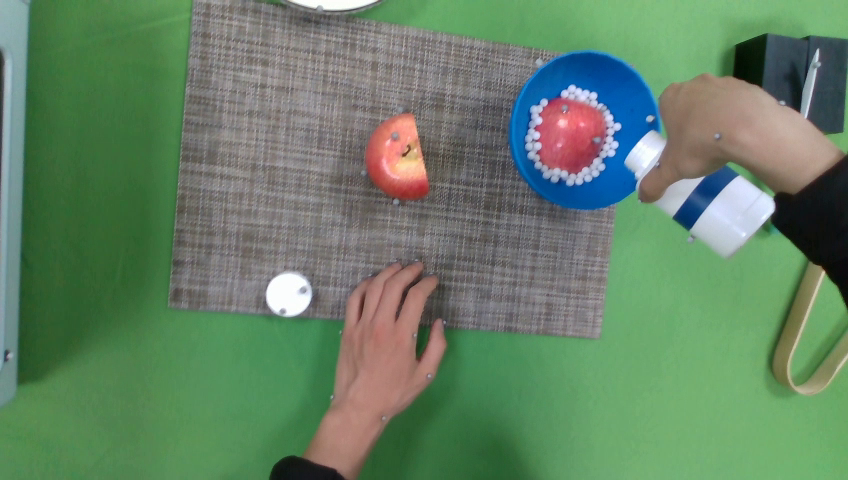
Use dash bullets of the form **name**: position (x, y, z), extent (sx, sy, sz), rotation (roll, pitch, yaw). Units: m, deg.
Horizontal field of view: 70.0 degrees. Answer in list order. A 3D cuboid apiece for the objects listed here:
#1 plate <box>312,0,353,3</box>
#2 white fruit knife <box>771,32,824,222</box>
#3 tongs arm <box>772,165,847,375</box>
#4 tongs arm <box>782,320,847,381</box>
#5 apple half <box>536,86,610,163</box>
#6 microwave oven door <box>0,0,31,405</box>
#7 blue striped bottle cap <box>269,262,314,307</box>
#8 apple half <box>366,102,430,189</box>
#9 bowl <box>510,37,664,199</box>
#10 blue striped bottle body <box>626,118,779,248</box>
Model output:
- **plate**: position (-0.094, -0.326, 0.566), extent (0.208, 0.039, 0.208), rotation (-1, 95, -11)
- **white fruit knife**: position (0.403, -0.114, 0.650), extent (0.016, 0.027, 0.208), rotation (2, 112, 7)
- **tongs arm**: position (0.487, -0.028, 0.704), extent (0.028, 0.027, 0.387), rotation (22, 91, -13)
- **tongs arm**: position (0.557, 0.013, 0.717), extent (0.051, 0.026, 0.384), rotation (36, 90, -10)
- **apple half**: position (0.152, -0.114, 0.600), extent (0.081, 0.032, 0.081), rotation (-1, 93, -10)
- **microwave oven door**: position (-0.350, -0.030, 0.424), extent (0.039, 0.243, 0.356), rotation (3, 94, -10)
- **blue striped bottle cap**: position (-0.132, 0.044, 0.599), extent (0.045, 0.020, 0.044), rotation (-1, 95, -13)
- **apple half**: position (-0.028, -0.086, 0.577), extent (0.053, 0.074, 0.081), rotation (-13, 100, -5)
- **bowl**: position (0.150, -0.116, 0.605), extent (0.152, 0.076, 0.151), rotation (-1, 95, -9)
- **blue striped bottle body**: position (0.234, -0.055, 0.523), extent (0.063, 0.063, 0.120), rotation (-45, 73, -4)
